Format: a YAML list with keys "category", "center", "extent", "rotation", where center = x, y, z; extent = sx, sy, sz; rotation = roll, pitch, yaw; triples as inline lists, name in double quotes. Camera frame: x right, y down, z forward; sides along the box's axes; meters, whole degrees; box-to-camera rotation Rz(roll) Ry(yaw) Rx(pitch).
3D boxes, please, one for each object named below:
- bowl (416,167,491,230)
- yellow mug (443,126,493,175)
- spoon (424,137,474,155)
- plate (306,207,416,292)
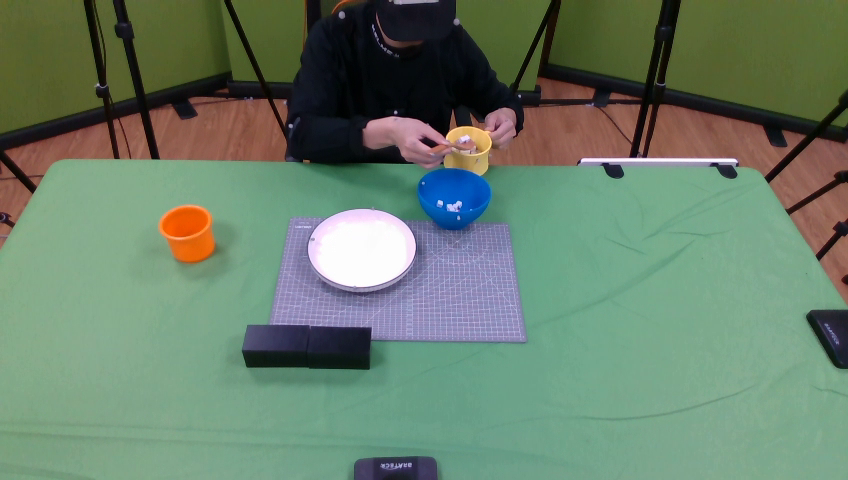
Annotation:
- category: "bowl"
  center: [0.057, -0.074, 1.231]
  extent: [0.151, 0.077, 0.150]
  rotation: [2, 42, -2]
- category: "yellow mug"
  center: [0.104, -0.200, 1.318]
  extent: [0.131, 0.064, 0.099]
  rotation: [-35, 58, -30]
- category: "spoon"
  center: [0.048, -0.186, 1.200]
  extent: [0.041, 0.022, 0.194]
  rotation: [30, 24, 20]
- category: "plate"
  center: [-0.119, 0.021, 1.153]
  extent: [0.209, 0.038, 0.208]
  rotation: [2, 46, -2]
